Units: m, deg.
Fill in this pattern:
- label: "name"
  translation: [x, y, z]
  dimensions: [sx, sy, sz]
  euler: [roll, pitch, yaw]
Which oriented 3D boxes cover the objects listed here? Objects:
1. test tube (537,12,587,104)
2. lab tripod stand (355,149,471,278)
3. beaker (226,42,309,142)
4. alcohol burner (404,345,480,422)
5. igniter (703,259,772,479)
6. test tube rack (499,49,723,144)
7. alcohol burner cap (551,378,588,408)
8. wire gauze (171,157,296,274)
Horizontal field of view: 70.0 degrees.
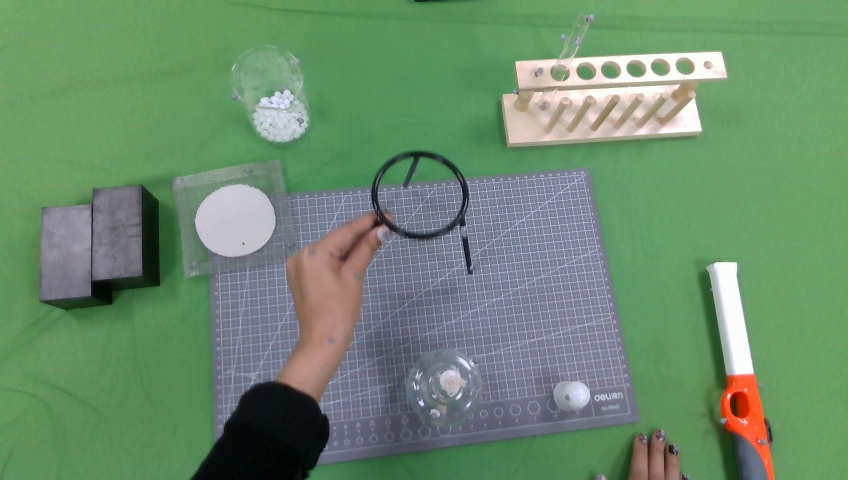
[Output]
- label: "test tube"
  translation: [0.149, -0.195, 0.667]
  dimensions: [0.017, 0.151, 0.017]
  euler: [1, 71, -4]
- label: "lab tripod stand"
  translation: [-0.012, -0.025, 0.610]
  dimensions: [0.148, 0.132, 0.147]
  euler: [1, 68, -3]
- label: "beaker"
  translation: [-0.167, -0.158, 0.676]
  dimensions: [0.074, 0.100, 0.083]
  euler: [-36, 81, -12]
- label: "alcohol burner"
  translation: [0.020, 0.141, 0.603]
  dimensions: [0.078, 0.119, 0.077]
  euler: [2, 73, -5]
- label: "igniter"
  translation: [0.349, 0.156, 0.674]
  dimensions: [0.057, 0.025, 0.275]
  euler: [1, 75, -14]
- label: "test tube rack"
  translation: [0.219, -0.169, 0.718]
  dimensions: [0.243, 0.085, 0.066]
  euler: [-4, 75, -6]
- label: "alcohol burner cap"
  translation: [0.158, 0.162, 0.646]
  dimensions: [0.034, 0.048, 0.033]
  euler: [1, 74, -3]
- label: "wire gauze"
  translation: [-0.216, -0.029, 0.682]
  dimensions: [0.125, 0.011, 0.121]
  euler: [-11, 76, -7]
